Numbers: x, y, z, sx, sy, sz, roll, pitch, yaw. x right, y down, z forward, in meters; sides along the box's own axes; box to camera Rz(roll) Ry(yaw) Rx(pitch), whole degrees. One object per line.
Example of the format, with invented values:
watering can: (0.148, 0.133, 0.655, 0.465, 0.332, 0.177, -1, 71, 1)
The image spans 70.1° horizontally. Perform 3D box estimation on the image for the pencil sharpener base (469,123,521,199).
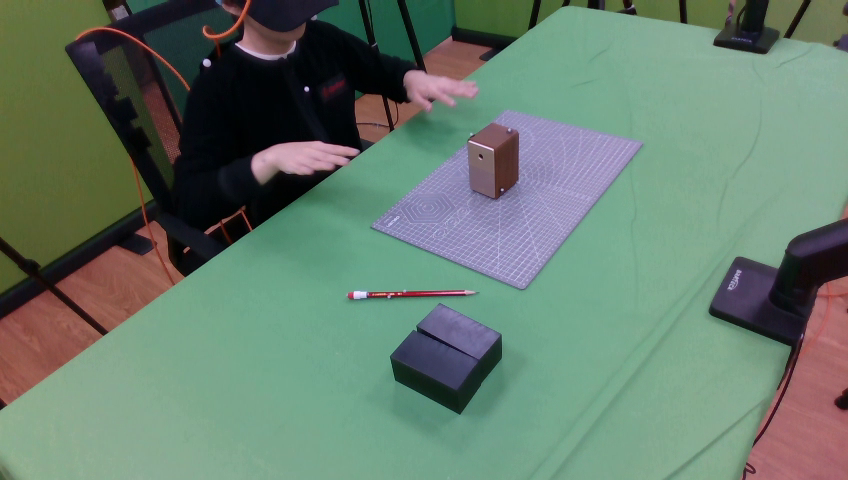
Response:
pencil sharpener base: (0.126, -0.138, 1.049, 0.061, 0.107, 0.077, 26, 50, 34)

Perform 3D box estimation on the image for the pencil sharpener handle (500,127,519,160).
pencil sharpener handle: (0.157, -0.175, 1.070, 0.035, 0.068, 0.031, 30, 53, 29)

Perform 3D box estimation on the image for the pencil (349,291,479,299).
pencil: (-0.015, 0.081, 0.894, 0.194, 0.012, 0.012, -1, 41, 6)
